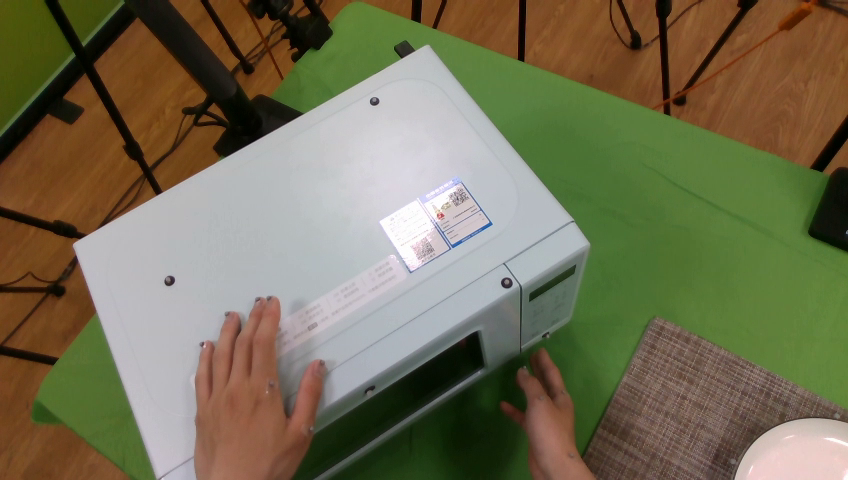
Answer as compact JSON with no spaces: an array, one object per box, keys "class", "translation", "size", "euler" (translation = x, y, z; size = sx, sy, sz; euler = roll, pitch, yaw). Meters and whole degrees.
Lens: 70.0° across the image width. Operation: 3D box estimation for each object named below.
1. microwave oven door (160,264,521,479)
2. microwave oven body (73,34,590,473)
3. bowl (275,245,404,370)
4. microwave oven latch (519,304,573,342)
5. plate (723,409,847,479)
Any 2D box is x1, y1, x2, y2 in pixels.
[{"class":"microwave oven door","translation":[-0.055,0.164,0.637],"size":[0.356,0.246,0.039],"euler":[-31,65,-6]},{"class":"microwave oven body","translation":[-0.093,0.035,0.706],"size":[0.442,0.262,0.323],"euler":[-32,66,-6]},{"class":"bowl","translation":[-0.092,0.090,0.722],"size":[0.151,0.077,0.150],"euler":[-4,61,7]},{"class":"microwave oven latch","translation":[0.147,0.094,0.752],"size":[0.079,0.030,0.030],"euler":[-30,66,-5]},{"class":"plate","translation":[0.423,0.287,0.641],"size":[0.207,0.039,0.206],"euler":[-3,66,7]}]
